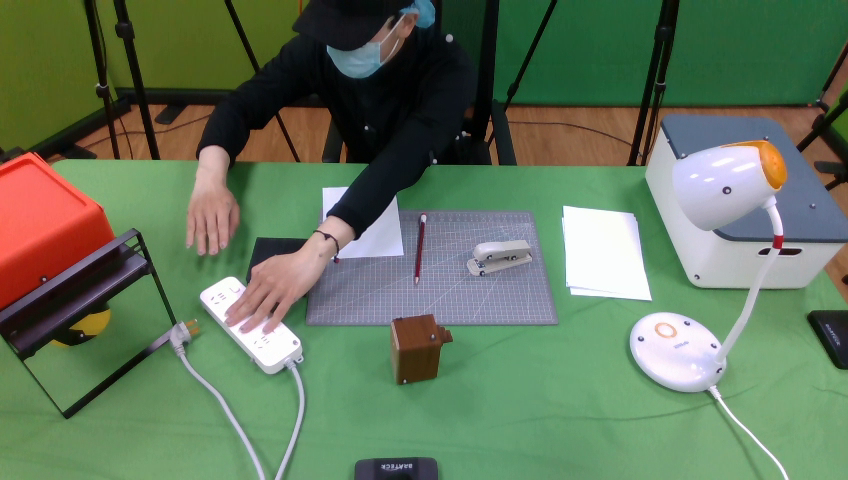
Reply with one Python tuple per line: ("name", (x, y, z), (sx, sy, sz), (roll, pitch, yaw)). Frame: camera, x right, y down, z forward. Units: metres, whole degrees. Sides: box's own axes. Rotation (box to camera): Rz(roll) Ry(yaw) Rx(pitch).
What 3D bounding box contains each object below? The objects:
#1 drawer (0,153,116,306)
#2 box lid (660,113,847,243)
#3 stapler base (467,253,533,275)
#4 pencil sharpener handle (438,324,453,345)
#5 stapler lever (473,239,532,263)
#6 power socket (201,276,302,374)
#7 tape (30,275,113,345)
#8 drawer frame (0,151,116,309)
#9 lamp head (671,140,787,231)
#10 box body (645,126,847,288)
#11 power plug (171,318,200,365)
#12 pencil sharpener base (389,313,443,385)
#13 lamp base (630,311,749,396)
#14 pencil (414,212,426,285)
("drawer", (-0.601, -0.015, 0.880), (0.193, 0.073, 0.211), (32, 53, 23))
("box lid", (0.628, -0.133, 1.171), (0.263, 0.015, 0.369), (1, 46, -3))
("stapler base", (0.148, 0.034, 1.172), (0.131, 0.024, 0.041), (-12, 49, -17))
("pencil sharpener handle", (0.036, 0.155, 0.976), (0.031, 0.068, 0.036), (-8, 69, -11))
("stapler lever", (0.150, 0.017, 1.155), (0.118, 0.040, 0.026), (-13, 49, -17))
("power socket", (-0.297, 0.141, 1.034), (0.225, 0.033, 0.072), (37, 55, 27))
("tape", (-0.593, 0.117, 1.021), (0.117, 0.053, 0.116), (3, 46, -2))
("drawer frame", (-0.604, -0.013, 0.876), (0.201, 0.083, 0.213), (31, 52, 23))
("lamp head", (0.415, -0.078, 0.811), (0.113, 0.123, 0.112), (12, 70, -37))
("box body", (0.625, -0.080, 1.222), (0.254, 0.161, 0.361), (0, 46, -3))
("power plug", (-0.393, 0.168, 1.015), (0.052, 0.035, 0.072), (-28, 93, -28))
("pencil sharpener base", (-0.013, 0.175, 0.971), (0.077, 0.107, 0.061), (-8, 47, -11))
("lamp base", (0.447, 0.143, 0.983), (0.161, 0.181, 0.178), (-24, 55, -24))
("pencil", (-0.008, 0.014, 1.190), (0.012, 0.012, 0.193), (5, 47, 1))
